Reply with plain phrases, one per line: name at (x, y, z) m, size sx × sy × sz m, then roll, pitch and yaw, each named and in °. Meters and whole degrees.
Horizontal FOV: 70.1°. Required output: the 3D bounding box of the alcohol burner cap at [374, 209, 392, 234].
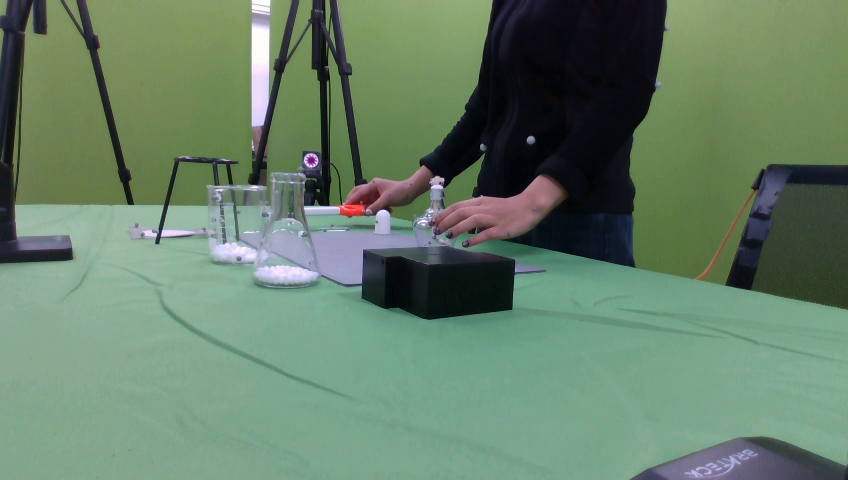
alcohol burner cap at (-0.078, -0.036, 1.148) m, size 0.034 × 0.048 × 0.034 m, roll 2°, pitch 7°, yaw 0°

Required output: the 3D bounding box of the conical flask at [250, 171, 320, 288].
conical flask at (-0.150, -0.013, 0.658) m, size 0.075 × 0.122 × 0.075 m, roll 2°, pitch 7°, yaw 0°

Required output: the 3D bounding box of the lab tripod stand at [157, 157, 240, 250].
lab tripod stand at (-0.322, -0.057, 0.905) m, size 0.148 × 0.131 × 0.148 m, roll 4°, pitch 7°, yaw 0°

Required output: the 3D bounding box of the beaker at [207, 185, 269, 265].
beaker at (-0.244, -0.021, 0.784) m, size 0.083 × 0.100 × 0.074 m, roll 6°, pitch 8°, yaw 30°

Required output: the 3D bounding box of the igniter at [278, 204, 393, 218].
igniter at (-0.171, -0.059, 1.229) m, size 0.057 × 0.025 × 0.278 m, roll 9°, pitch 10°, yaw 42°

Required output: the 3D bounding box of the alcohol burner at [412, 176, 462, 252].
alcohol burner at (0.021, -0.041, 0.948) m, size 0.078 × 0.119 × 0.078 m, roll 0°, pitch 7°, yaw 0°

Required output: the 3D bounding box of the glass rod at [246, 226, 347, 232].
glass rod at (-0.236, -0.021, 1.139) m, size 0.201 × 0.008 × 0.008 m, roll -2°, pitch 8°, yaw -33°

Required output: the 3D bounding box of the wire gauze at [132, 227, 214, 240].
wire gauze at (-0.425, -0.013, 1.018) m, size 0.122 × 0.011 × 0.124 m, roll -1°, pitch 6°, yaw -28°
